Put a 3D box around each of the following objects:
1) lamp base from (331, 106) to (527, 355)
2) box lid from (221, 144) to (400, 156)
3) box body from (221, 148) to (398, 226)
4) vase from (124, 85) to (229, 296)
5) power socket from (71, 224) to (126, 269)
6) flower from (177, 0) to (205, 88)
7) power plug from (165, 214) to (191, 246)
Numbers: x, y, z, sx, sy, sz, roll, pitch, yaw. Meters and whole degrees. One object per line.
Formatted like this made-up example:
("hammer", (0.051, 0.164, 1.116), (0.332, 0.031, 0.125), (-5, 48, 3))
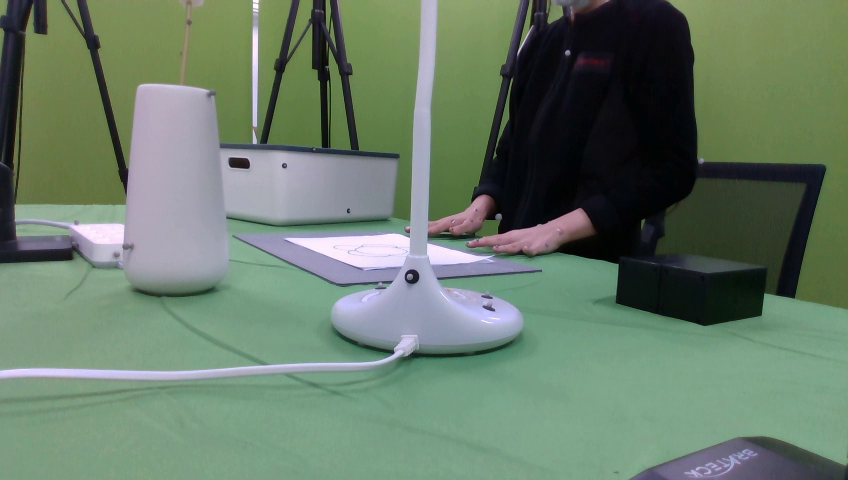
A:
("lamp base", (0.006, -0.012, 0.478), (0.161, 0.180, 0.179), (2, 10, 2))
("box lid", (-0.263, -0.202, 1.369), (0.262, 0.015, 0.373), (9, 10, 39))
("box body", (-0.264, -0.129, 1.380), (0.253, 0.160, 0.366), (8, 9, 39))
("vase", (-0.244, -0.047, 0.598), (0.098, 0.200, 0.098), (3, 8, 0))
("power socket", (-0.409, 0.004, 0.792), (0.072, 0.032, 0.225), (-2, 8, -37))
("flower", (-0.243, -0.131, 0.609), (0.044, 0.361, 0.038), (-5, -12, 11))
("power plug", (-0.364, -0.009, 0.910), (0.035, 0.052, 0.072), (9, -20, -2))
